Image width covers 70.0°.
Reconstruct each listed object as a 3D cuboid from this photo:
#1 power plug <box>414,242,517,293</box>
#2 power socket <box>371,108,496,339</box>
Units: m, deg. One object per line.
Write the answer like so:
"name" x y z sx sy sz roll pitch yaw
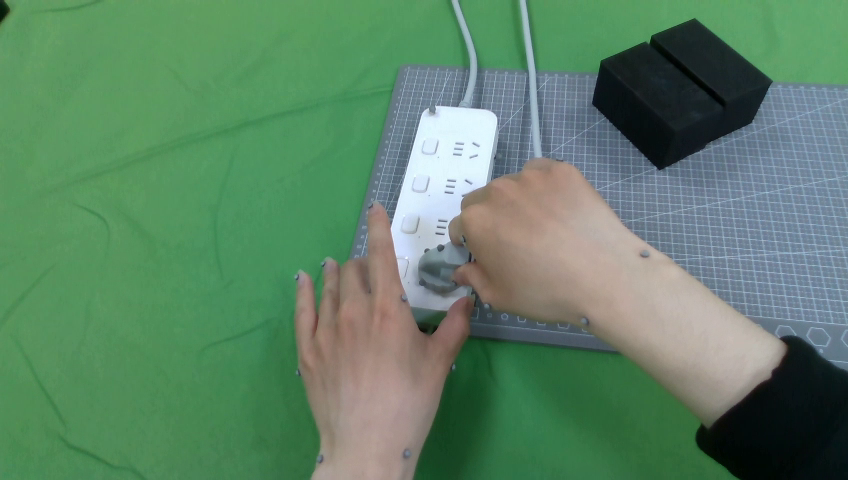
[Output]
"power plug" 0.027 0.028 0.445 0.072 0.053 0.035 18 58 13
"power socket" 0.013 -0.026 0.505 0.072 0.033 0.225 8 57 9
